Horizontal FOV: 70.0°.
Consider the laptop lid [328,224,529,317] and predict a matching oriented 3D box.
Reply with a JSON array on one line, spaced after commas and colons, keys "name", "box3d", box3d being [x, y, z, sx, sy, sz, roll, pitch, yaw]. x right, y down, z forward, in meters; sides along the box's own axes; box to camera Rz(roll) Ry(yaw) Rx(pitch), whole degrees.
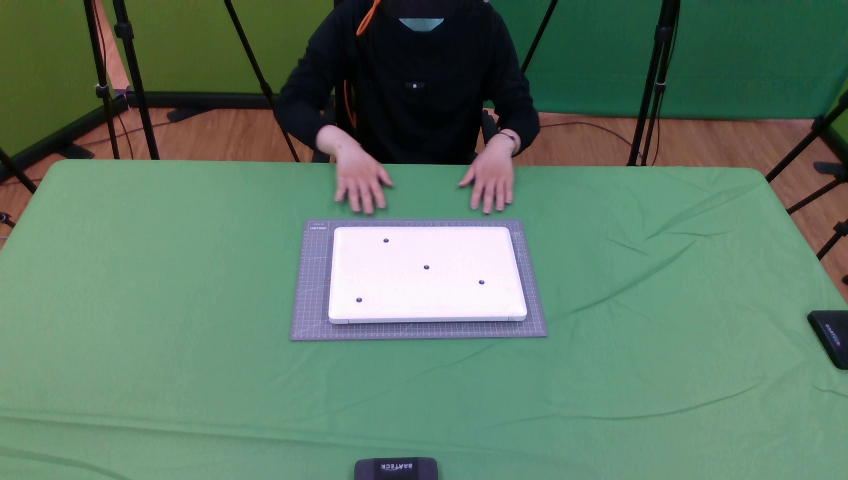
[{"name": "laptop lid", "box3d": [0.005, 0.051, 1.130, 0.357, 0.013, 0.240, 1, 44, -3]}]

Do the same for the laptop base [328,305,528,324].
[{"name": "laptop base", "box3d": [0.005, 0.061, 1.137, 0.355, 0.023, 0.234, 0, 43, -4]}]
